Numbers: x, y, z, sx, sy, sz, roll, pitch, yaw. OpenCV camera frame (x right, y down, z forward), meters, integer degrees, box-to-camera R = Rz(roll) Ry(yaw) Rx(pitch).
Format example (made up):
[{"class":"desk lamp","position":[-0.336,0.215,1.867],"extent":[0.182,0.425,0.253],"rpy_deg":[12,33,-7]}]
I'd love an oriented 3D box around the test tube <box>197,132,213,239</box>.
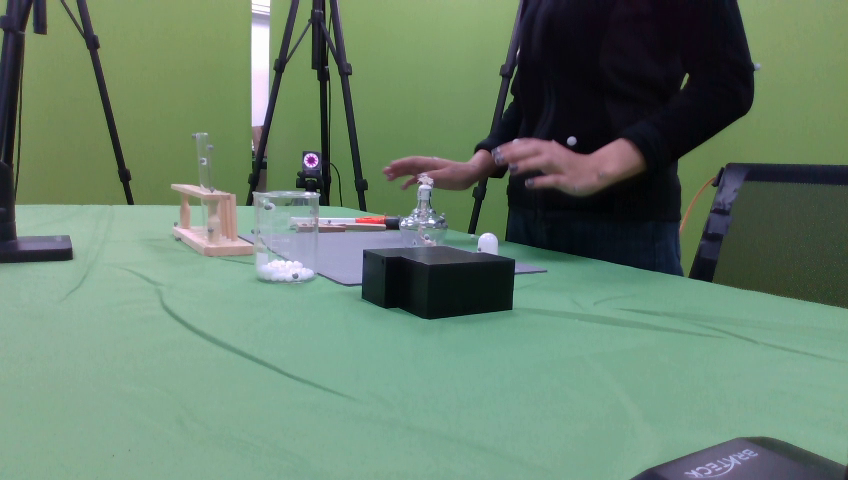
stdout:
[{"class":"test tube","position":[-0.305,-0.075,0.849],"extent":[0.017,0.150,0.017],"rpy_deg":[-1,10,0]}]

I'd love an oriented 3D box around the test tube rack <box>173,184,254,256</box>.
[{"class":"test tube rack","position":[-0.328,-0.036,0.927],"extent":[0.067,0.085,0.241],"rpy_deg":[-2,9,-32]}]

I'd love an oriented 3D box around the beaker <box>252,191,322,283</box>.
[{"class":"beaker","position":[-0.158,-0.005,0.686],"extent":[0.083,0.100,0.074],"rpy_deg":[5,7,23]}]

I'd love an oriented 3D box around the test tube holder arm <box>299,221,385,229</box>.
[{"class":"test tube holder arm","position":[-0.154,-0.028,1.166],"extent":[0.179,0.015,0.013],"rpy_deg":[-3,44,-35]}]

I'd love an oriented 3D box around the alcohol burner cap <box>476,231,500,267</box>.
[{"class":"alcohol burner cap","position":[0.088,0.012,0.830],"extent":[0.034,0.048,0.034],"rpy_deg":[2,6,0]}]

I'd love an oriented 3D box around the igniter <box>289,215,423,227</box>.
[{"class":"igniter","position":[-0.133,-0.038,1.232],"extent":[0.278,0.025,0.057],"rpy_deg":[-1,-2,-25]}]

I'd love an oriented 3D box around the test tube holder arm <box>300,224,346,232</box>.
[{"class":"test tube holder arm","position":[-0.189,-0.023,1.137],"extent":[0.088,0.015,0.010],"rpy_deg":[-2,43,-35]}]

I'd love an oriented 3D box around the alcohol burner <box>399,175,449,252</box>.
[{"class":"alcohol burner","position":[0.000,-0.041,0.937],"extent":[0.078,0.119,0.078],"rpy_deg":[0,7,0]}]
